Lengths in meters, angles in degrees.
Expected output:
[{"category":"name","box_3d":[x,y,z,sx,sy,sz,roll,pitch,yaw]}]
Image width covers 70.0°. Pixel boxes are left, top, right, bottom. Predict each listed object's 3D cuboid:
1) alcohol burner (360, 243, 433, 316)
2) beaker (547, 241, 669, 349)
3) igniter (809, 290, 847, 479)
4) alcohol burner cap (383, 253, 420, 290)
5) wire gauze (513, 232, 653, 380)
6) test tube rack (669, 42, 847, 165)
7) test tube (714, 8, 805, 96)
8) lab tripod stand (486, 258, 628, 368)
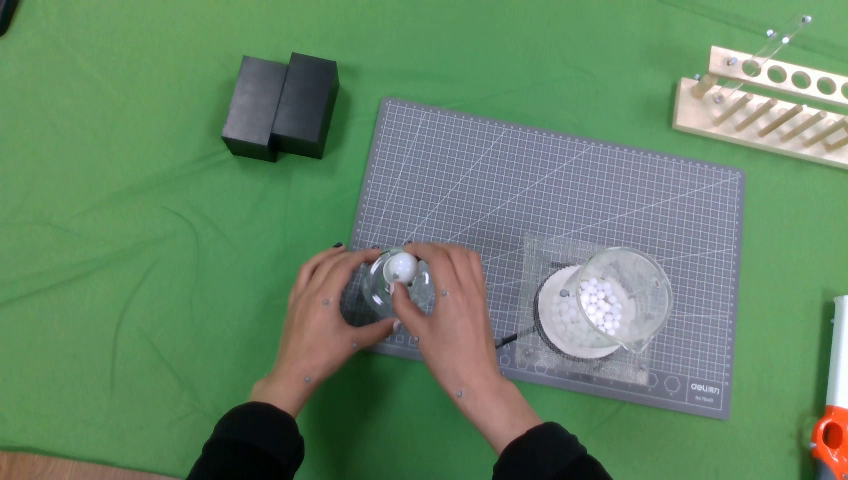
[{"category":"alcohol burner","box_3d":[-0.028,0.037,0.621,0.078,0.119,0.077,1,74,-4]},{"category":"beaker","box_3d":[0.148,0.052,0.503,0.074,0.100,0.083,-11,77,-6]},{"category":"igniter","box_3d":[0.455,0.191,0.669,0.057,0.025,0.275,18,76,-10]},{"category":"alcohol burner cap","box_3d":[-0.019,0.028,0.560,0.034,0.048,0.033,2,80,-11]},{"category":"wire gauze","box_3d":[0.145,0.057,0.552,0.125,0.011,0.121,9,74,1]},{"category":"test tube rack","box_3d":[0.430,-0.157,0.718,0.242,0.085,0.066,12,76,-1]},{"category":"test tube","box_3d":[0.367,-0.203,0.673,0.017,0.151,0.017,1,72,-4]},{"category":"lab tripod stand","box_3d":[0.138,0.075,0.615,0.148,0.132,0.147,1,75,-2]}]
